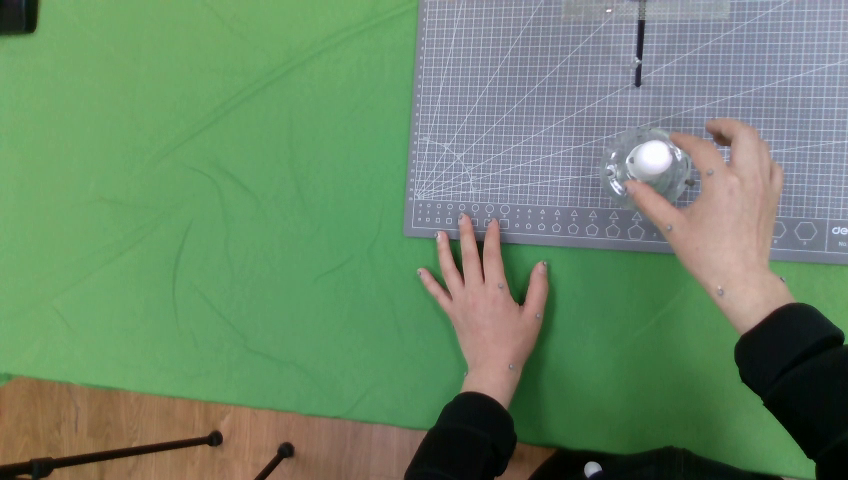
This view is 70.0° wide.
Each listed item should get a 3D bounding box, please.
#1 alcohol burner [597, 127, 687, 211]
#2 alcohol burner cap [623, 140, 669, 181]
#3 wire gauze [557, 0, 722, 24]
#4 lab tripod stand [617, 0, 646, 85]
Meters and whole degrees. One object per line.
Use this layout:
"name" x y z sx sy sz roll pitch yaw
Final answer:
"alcohol burner" 0.194 -0.065 0.535 0.078 0.119 0.078 0 88 13
"alcohol burner cap" 0.185 -0.067 0.500 0.034 0.048 0.034 0 90 10
"wire gauze" 0.167 -0.228 0.467 0.125 0.011 0.121 3 93 12
"lab tripod stand" 0.183 -0.225 0.531 0.148 0.132 0.148 0 89 13
